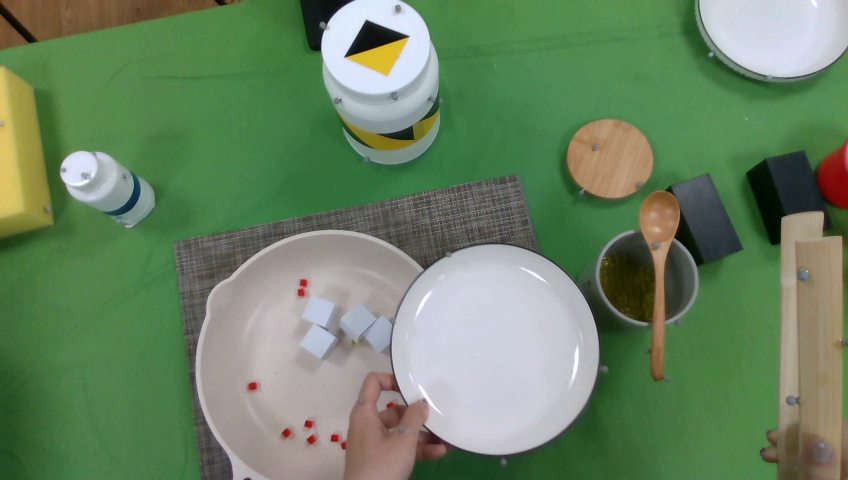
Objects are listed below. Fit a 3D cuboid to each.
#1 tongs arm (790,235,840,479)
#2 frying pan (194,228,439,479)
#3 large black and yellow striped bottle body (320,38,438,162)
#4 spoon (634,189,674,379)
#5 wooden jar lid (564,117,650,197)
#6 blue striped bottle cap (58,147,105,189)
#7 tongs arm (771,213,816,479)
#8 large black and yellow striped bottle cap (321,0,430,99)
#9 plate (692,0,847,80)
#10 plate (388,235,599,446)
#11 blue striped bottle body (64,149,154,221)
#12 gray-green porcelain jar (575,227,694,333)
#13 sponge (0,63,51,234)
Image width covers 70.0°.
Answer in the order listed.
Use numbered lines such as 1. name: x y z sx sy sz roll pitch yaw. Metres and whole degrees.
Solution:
1. tongs arm: 0.279 0.167 0.442 0.026 0.050 0.387 -9 110 13
2. frying pan: -0.162 0.217 0.669 0.306 0.103 0.486 29 71 8
3. large black and yellow striped bottle body: -0.050 -0.184 0.721 0.131 0.185 0.130 0 76 2
4. spoon: 0.235 0.044 0.620 0.042 0.021 0.193 5 80 -6
5. wooden jar lid: 0.234 -0.105 0.780 0.108 0.021 0.108 0 79 1
6. blue striped bottle cap: -0.387 -0.082 0.684 0.044 0.021 0.044 0 79 1
7. tongs arm: 0.282 0.157 0.462 0.028 0.028 0.390 -11 114 10
8. large black and yellow striped bottle cap: -0.051 -0.205 0.639 0.115 0.019 0.114 0 79 1
9. plate: 0.462 -0.306 0.810 0.209 0.038 0.208 0 77 2
10. plate: 0.068 0.099 0.614 0.207 0.039 0.206 -2 76 8
11. blue striped bottle body: -0.385 -0.069 0.733 0.063 0.121 0.063 0 76 2
12. gray-green porcelain jar: 0.230 0.051 0.690 0.106 0.127 0.105 0 77 1
13. sponge: -0.569 -0.111 0.777 0.118 0.061 0.206 -16 78 -3
